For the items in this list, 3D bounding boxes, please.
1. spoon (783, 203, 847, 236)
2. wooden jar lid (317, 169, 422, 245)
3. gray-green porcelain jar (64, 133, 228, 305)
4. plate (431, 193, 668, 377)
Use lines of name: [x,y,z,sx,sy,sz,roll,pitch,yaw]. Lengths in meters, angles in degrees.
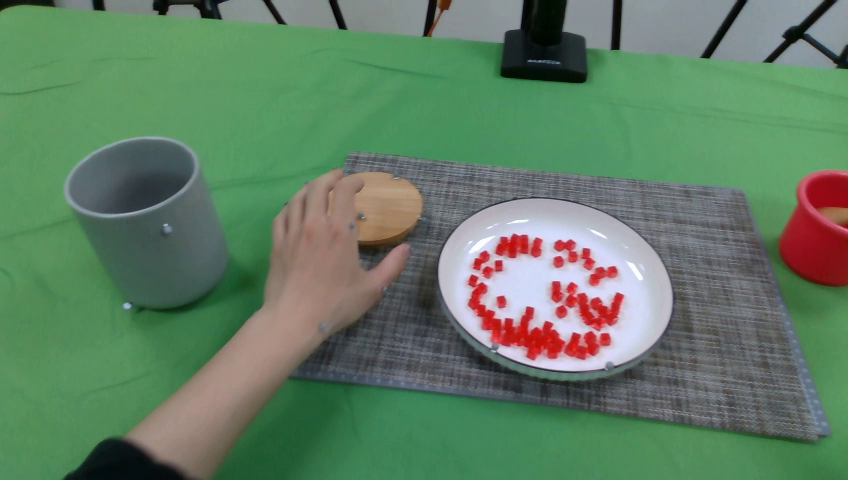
spoon: [0.427,-0.032,0.547,0.193,0.022,0.041,-13,25,46]
wooden jar lid: [-0.056,-0.034,0.631,0.108,0.021,0.107,2,45,-1]
gray-green porcelain jar: [-0.237,-0.013,0.538,0.106,0.127,0.105,1,46,-1]
plate: [0.110,0.039,0.551,0.208,0.039,0.205,1,46,0]
